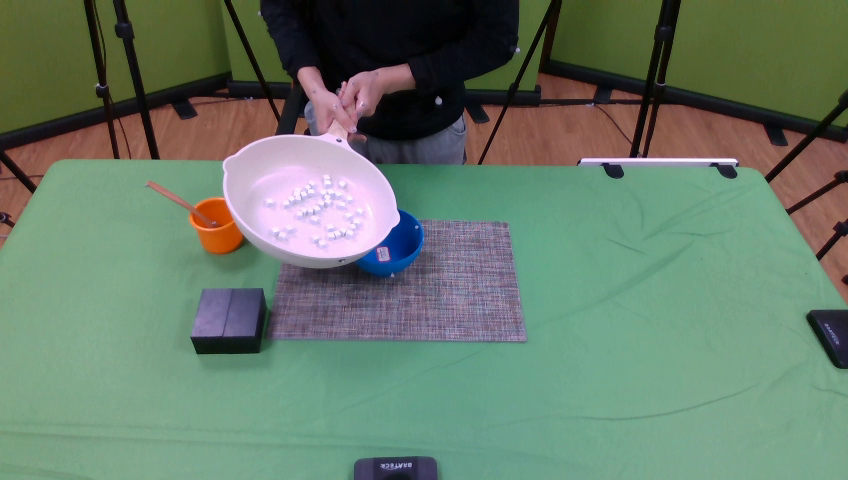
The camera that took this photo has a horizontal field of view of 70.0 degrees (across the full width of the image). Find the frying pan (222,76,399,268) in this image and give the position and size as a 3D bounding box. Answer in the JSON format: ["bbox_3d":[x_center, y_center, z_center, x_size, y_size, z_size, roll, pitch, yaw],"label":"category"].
[{"bbox_3d":[-0.178,-0.145,1.108,0.307,0.103,0.485,20,53,-8],"label":"frying pan"}]

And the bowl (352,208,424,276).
[{"bbox_3d":[-0.079,0.014,1.134,0.151,0.077,0.150,2,46,-2],"label":"bowl"}]

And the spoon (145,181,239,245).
[{"bbox_3d":[-0.428,-0.052,1.126,0.021,0.195,0.041,-28,34,33],"label":"spoon"}]
